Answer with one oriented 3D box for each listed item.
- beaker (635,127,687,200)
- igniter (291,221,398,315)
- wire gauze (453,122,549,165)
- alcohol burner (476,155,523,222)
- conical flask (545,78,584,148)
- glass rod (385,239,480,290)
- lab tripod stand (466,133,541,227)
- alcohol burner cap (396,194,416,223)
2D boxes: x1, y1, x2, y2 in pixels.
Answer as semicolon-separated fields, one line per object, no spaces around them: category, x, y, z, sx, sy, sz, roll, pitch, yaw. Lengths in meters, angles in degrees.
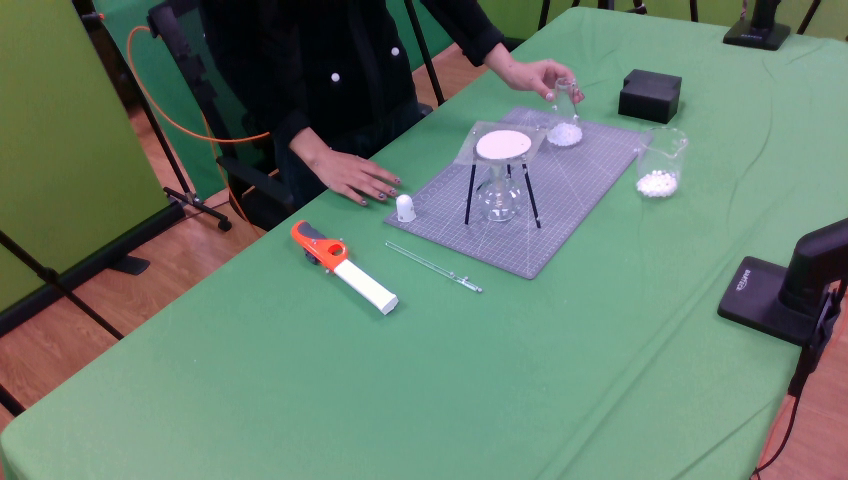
beaker;0.388;-0.122;0.994;0.074;0.101;0.083;-8;40;2
igniter;-0.136;0.037;0.962;0.057;0.025;0.274;-41;48;-18
wire gauze;0.122;-0.150;0.942;0.121;0.011;0.125;8;41;21
alcohol burner;0.123;-0.089;0.990;0.078;0.120;0.077;-7;41;6
conical flask;0.264;-0.241;1.135;0.075;0.122;0.075;-6;40;5
glass rod;0.009;0.037;0.949;0.198;0.008;0.008;26;52;34
lab tripod stand;0.130;-0.099;0.985;0.148;0.132;0.147;-6;38;6
alcohol burner cap;-0.032;-0.056;1.036;0.034;0.048;0.033;-6;40;6
